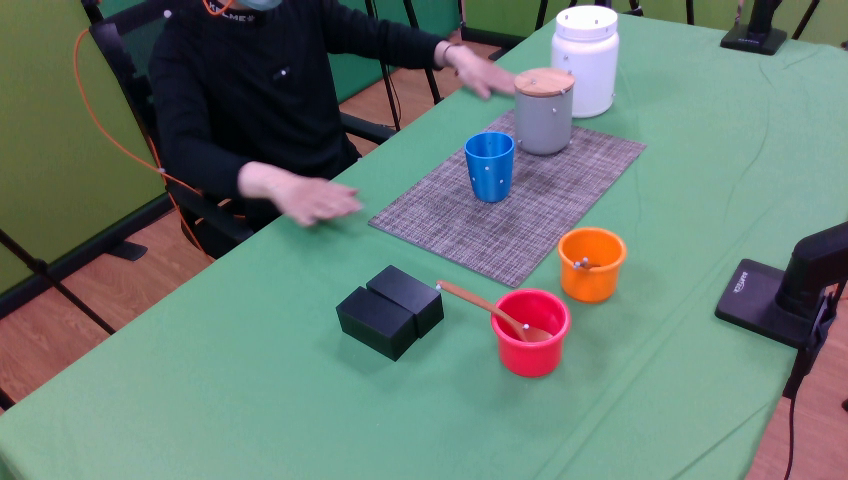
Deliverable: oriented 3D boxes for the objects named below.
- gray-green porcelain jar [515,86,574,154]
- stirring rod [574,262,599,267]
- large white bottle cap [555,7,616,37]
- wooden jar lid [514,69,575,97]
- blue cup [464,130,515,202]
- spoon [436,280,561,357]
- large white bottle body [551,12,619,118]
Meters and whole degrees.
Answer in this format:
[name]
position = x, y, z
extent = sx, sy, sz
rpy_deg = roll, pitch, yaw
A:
[gray-green porcelain jar]
position = 0.223, -0.233, 1.129
extent = 0.106, 0.127, 0.105
rpy_deg = -4, 40, 4
[stirring rod]
position = 0.221, 0.033, 0.816
extent = 0.014, 0.006, 0.177
rpy_deg = 9, 1, 21
[large white bottle cap]
position = 0.311, -0.420, 1.163
extent = 0.115, 0.018, 0.114
rpy_deg = -4, 40, 4
[wooden jar lid]
position = 0.216, -0.279, 1.088
extent = 0.108, 0.021, 0.108
rpy_deg = -3, 38, 3
[blue cup]
position = 0.114, -0.122, 1.035
extent = 0.092, 0.100, 0.092
rpy_deg = -4, 40, 4
[spoon]
position = 0.096, 0.095, 0.757
extent = 0.195, 0.021, 0.041
rpy_deg = 34, 42, -20
[large white bottle body]
position = 0.321, -0.356, 1.218
extent = 0.130, 0.185, 0.130
rpy_deg = -4, 41, 4
